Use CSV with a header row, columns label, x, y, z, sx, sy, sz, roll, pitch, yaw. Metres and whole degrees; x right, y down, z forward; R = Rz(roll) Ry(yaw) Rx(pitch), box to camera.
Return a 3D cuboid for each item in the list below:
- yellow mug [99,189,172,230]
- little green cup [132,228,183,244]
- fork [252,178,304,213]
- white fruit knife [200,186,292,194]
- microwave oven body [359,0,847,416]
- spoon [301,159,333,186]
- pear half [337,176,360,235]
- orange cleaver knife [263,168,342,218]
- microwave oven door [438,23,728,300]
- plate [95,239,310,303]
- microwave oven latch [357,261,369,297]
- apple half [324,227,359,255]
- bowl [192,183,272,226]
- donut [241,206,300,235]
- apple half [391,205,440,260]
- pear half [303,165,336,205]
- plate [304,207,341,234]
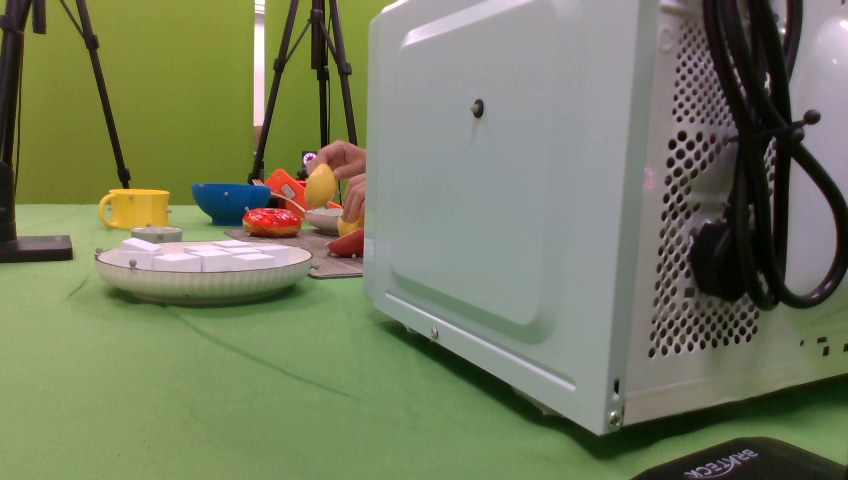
label,x,y,z,sx,sy,sz,roll,pitch,yaw
yellow mug,-0.518,-0.055,1.080,0.099,0.064,0.131,6,9,26
little green cup,-0.342,0.006,0.779,0.061,0.038,0.061,2,8,0
fork,-0.295,-0.084,1.292,0.206,0.018,0.028,29,10,25
white fruit knife,-0.399,-0.111,1.368,0.208,0.016,0.027,-4,-19,-30
microwave oven body,0.211,-0.047,0.474,0.444,0.260,0.324,-1,7,-28
spoon,-0.316,-0.158,1.639,0.194,0.022,0.041,-49,32,-20
pear half,-0.090,-0.042,0.921,0.055,0.110,0.076,6,15,33
orange cleaver knife,-0.262,-0.088,1.353,0.211,0.077,0.012,28,13,-1
microwave oven door,0.181,-0.072,0.621,0.358,0.243,0.039,-2,8,-29
plate,-0.224,0.031,0.629,0.208,0.039,0.207,2,7,0
microwave oven latch,-0.019,0.033,0.531,0.079,0.029,0.030,-1,7,-26
apple half,-0.095,0.002,0.848,0.081,0.033,0.081,-21,0,0
bowl,-0.381,-0.071,1.202,0.151,0.077,0.151,3,7,0
donut,-0.263,-0.032,1.039,0.099,0.048,0.099,4,10,0
apple half,-0.006,-0.009,0.837,0.053,0.074,0.081,10,6,23
pear half,-0.161,-0.080,0.970,0.031,0.088,0.070,39,63,13
plate,-0.123,-0.037,1.149,0.209,0.038,0.209,2,7,0
